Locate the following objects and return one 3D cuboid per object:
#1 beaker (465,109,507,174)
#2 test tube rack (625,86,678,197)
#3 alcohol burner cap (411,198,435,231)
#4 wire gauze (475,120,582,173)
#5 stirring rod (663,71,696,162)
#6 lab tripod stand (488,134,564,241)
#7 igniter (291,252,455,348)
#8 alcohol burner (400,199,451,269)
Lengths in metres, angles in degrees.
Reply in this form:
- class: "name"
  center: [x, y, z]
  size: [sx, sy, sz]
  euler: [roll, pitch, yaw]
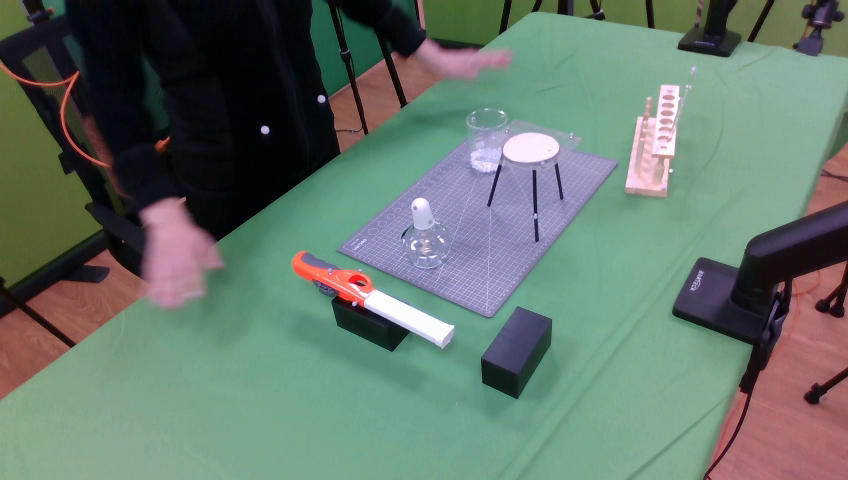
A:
- class: "beaker"
  center: [0.118, -0.180, 1.109]
  size: [0.084, 0.100, 0.073]
  euler: [-27, 44, -23]
- class: "test tube rack"
  center: [0.412, -0.184, 1.088]
  size: [0.066, 0.085, 0.242]
  euler: [9, 43, 18]
- class: "alcohol burner cap"
  center: [-0.003, -0.041, 0.893]
  size: [0.034, 0.048, 0.033]
  euler: [-7, 41, 7]
- class: "wire gauze"
  center: [0.161, -0.143, 0.928]
  size: [0.120, 0.011, 0.125]
  euler: [20, 47, 31]
- class: "stirring rod"
  center: [0.410, -0.195, 0.981]
  size: [0.014, 0.177, 0.006]
  euler: [11, 50, 14]
- class: "lab tripod stand"
  center: [0.168, -0.092, 0.972]
  size: [0.148, 0.132, 0.147]
  euler: [-5, 41, 5]
- class: "igniter"
  center: [-0.080, 0.076, 0.822]
  size: [0.274, 0.025, 0.057]
  euler: [23, 45, 27]
- class: "alcohol burner"
  center: [0.000, -0.013, 0.917]
  size: [0.078, 0.119, 0.077]
  euler: [-5, 41, 5]
